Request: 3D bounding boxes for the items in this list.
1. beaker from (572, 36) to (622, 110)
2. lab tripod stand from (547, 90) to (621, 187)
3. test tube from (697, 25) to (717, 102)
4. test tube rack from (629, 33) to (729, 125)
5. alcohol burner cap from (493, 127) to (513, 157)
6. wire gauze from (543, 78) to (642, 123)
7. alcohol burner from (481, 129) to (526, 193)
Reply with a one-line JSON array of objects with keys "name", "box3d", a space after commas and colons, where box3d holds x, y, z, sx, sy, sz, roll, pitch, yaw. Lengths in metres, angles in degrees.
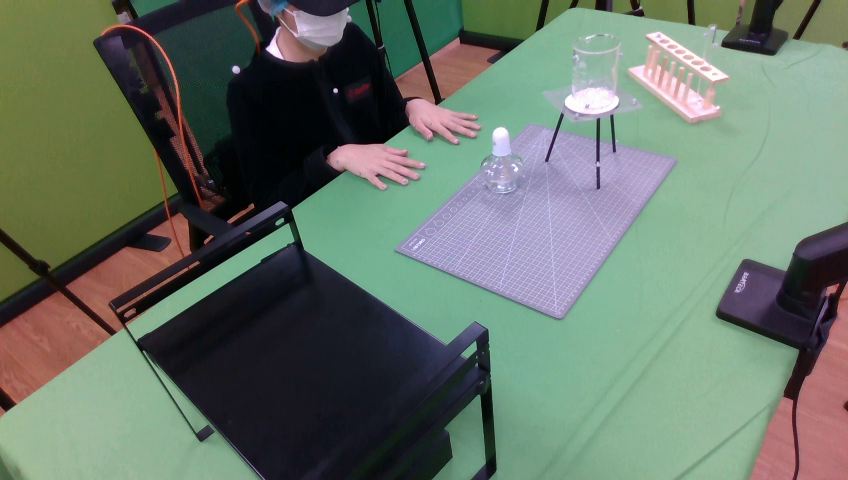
[{"name": "beaker", "box3d": [0.279, -0.273, 0.992, 0.074, 0.101, 0.083, -14, 40, -5]}, {"name": "lab tripod stand", "box3d": [0.289, -0.184, 1.062, 0.148, 0.132, 0.147, -6, 41, 6]}, {"name": "test tube", "box3d": [0.546, -0.337, 1.166, 0.017, 0.151, 0.017, -5, 36, 4]}, {"name": "test tube rack", "box3d": [0.516, -0.337, 1.247, 0.067, 0.085, 0.240, -14, 41, -7]}, {"name": "alcohol burner cap", "box3d": [0.132, -0.169, 1.030, 0.034, 0.048, 0.033, -6, 36, 5]}, {"name": "wire gauze", "box3d": [0.282, -0.234, 1.022, 0.125, 0.011, 0.120, -17, 38, -4]}, {"name": "alcohol burner", "box3d": [0.138, -0.142, 1.052, 0.078, 0.119, 0.077, -5, 42, 5]}]
